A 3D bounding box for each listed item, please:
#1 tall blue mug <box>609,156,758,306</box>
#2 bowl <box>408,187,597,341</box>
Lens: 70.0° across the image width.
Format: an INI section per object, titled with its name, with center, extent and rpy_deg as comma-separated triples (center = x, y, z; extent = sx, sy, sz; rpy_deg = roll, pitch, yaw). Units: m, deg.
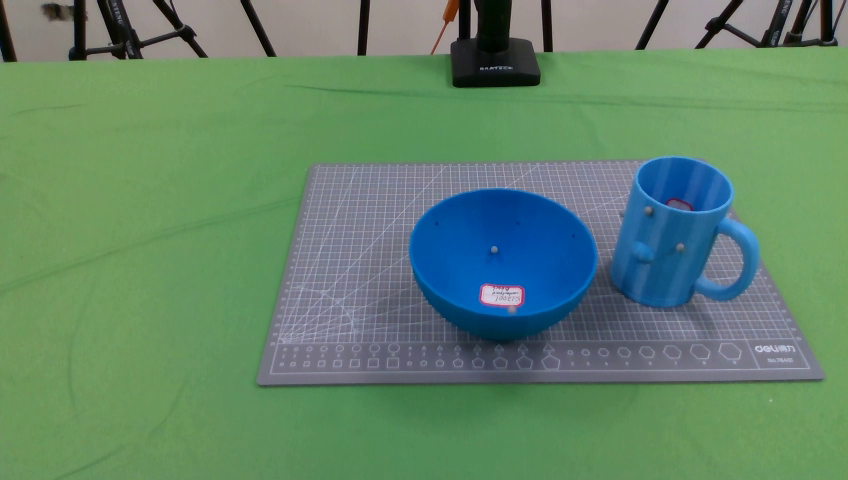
[tall blue mug]
center = 0.222, -0.002, 0.517
extent = 0.107, 0.109, 0.077
rpy_deg = 13, 44, 15
[bowl]
center = 0.063, 0.032, 0.507
extent = 0.151, 0.077, 0.150
rpy_deg = 0, 43, 1
